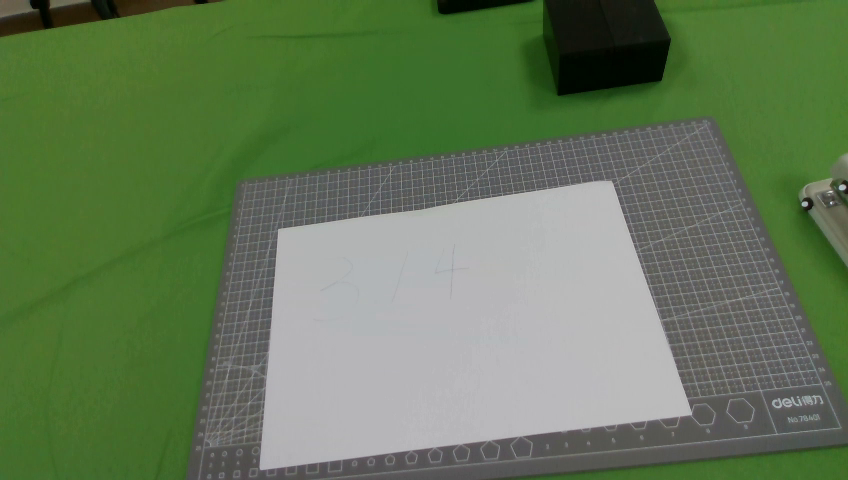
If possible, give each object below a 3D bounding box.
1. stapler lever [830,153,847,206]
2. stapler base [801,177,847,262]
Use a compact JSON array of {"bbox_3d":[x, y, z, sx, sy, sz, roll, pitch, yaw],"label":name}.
[{"bbox_3d":[0.331,-0.014,0.430,0.027,0.040,0.117,-15,56,3],"label":"stapler lever"},{"bbox_3d":[0.334,-0.001,0.451,0.041,0.025,0.129,-15,56,3],"label":"stapler base"}]
